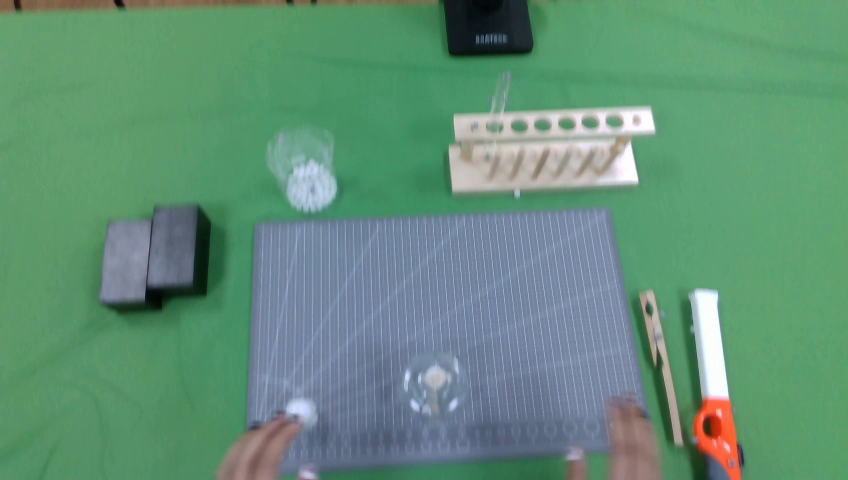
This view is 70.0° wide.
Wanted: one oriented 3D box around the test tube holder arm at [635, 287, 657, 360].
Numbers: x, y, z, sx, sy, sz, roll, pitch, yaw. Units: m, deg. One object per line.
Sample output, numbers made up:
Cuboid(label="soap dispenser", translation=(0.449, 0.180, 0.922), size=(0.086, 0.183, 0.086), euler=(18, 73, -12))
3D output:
Cuboid(label="test tube holder arm", translation=(0.268, 0.099, 0.725), size=(0.010, 0.015, 0.087), euler=(-17, 69, 28))

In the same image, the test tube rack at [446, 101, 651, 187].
Cuboid(label="test tube rack", translation=(0.153, -0.119, 0.761), size=(0.242, 0.085, 0.066), euler=(-3, 70, -4))

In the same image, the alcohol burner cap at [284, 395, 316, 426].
Cuboid(label="alcohol burner cap", translation=(-0.136, 0.183, 0.657), size=(0.034, 0.048, 0.033), euler=(1, 70, -3))

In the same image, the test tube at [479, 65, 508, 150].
Cuboid(label="test tube", translation=(0.080, -0.151, 0.716), size=(0.017, 0.151, 0.017), euler=(1, 66, -1))

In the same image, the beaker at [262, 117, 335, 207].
Cuboid(label="beaker", translation=(-0.144, -0.091, 0.728), size=(0.084, 0.101, 0.073), euler=(-36, 75, -15))

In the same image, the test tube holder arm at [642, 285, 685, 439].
Cuboid(label="test tube holder arm", translation=(0.278, 0.140, 0.708), size=(0.013, 0.015, 0.177), euler=(-18, 68, 28))

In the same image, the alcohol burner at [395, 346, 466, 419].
Cuboid(label="alcohol burner", translation=(0.008, 0.147, 0.639), size=(0.078, 0.120, 0.077), euler=(1, 68, -3))

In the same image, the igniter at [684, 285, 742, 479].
Cuboid(label="igniter", translation=(0.327, 0.185, 0.691), size=(0.057, 0.025, 0.274), euler=(7, 70, -11))
